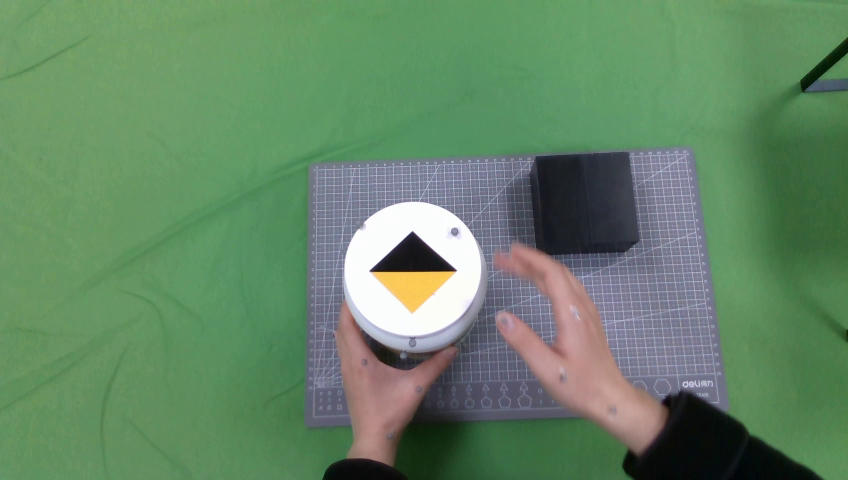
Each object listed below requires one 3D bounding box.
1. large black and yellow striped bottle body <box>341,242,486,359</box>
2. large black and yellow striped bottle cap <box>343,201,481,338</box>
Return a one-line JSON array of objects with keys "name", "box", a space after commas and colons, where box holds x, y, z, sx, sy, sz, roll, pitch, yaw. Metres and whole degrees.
[{"name": "large black and yellow striped bottle body", "box": [-0.008, 0.045, 0.586, 0.131, 0.185, 0.130, 0, 76, 1]}, {"name": "large black and yellow striped bottle cap", "box": [-0.010, 0.023, 0.504, 0.115, 0.019, 0.114, 0, 78, 2]}]
